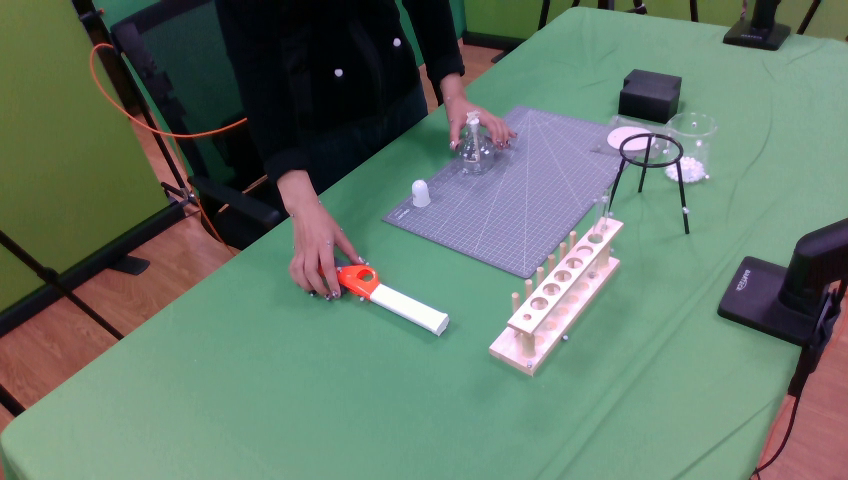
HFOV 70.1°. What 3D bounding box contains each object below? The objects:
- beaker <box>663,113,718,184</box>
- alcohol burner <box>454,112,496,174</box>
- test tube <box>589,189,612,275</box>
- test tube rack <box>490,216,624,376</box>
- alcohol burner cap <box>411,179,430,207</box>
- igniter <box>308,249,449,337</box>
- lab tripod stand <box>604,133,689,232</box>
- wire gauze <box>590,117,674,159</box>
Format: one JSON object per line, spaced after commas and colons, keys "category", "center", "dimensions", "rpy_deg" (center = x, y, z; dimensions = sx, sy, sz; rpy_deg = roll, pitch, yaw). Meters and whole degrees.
{"category": "beaker", "center": [0.442, -0.151, 1.018], "dimensions": [0.084, 0.101, 0.074], "rpy_deg": [-1, 40, 11]}
{"category": "alcohol burner", "center": [0.092, -0.181, 1.102], "dimensions": [0.078, 0.119, 0.077], "rpy_deg": [-5, 42, 5]}
{"category": "test tube", "center": [0.238, -0.007, 0.818], "dimensions": [0.017, 0.151, 0.017], "rpy_deg": [-3, 43, 4]}
{"category": "test tube rack", "center": [0.184, 0.064, 0.822], "dimensions": [0.066, 0.085, 0.243], "rpy_deg": [24, 50, 33]}
{"category": "alcohol burner cap", "center": [-0.008, -0.085, 1.063], "dimensions": [0.034, 0.048, 0.033], "rpy_deg": [-4, 41, 4]}
{"category": "igniter", "center": [-0.079, 0.073, 0.905], "dimensions": [0.274, 0.025, 0.057], "rpy_deg": [24, 61, 33]}
{"category": "lab tripod stand", "center": [0.347, -0.086, 0.932], "dimensions": [0.148, 0.132, 0.147], "rpy_deg": [-4, 40, 4]}
{"category": "wire gauze", "center": [0.393, -0.192, 1.139], "dimensions": [0.120, 0.011, 0.125], "rpy_deg": [19, 47, 28]}
